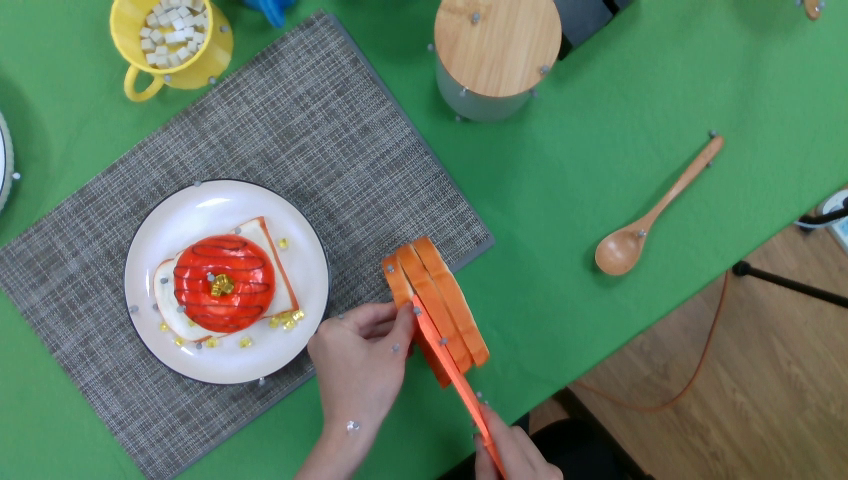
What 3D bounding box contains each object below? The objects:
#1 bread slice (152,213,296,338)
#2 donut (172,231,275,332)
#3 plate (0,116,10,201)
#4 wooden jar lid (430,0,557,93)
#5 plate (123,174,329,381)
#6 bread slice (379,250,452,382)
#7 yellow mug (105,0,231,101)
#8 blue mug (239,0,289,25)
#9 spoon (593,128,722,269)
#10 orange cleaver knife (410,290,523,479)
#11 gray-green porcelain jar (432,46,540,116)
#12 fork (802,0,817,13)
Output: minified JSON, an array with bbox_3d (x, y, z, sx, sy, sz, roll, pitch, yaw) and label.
[{"bbox_3d":[-0.211,0.044,0.628,0.131,0.019,0.105,-24,90,-3],"label":"bread slice"},{"bbox_3d":[-0.196,0.040,0.597,0.099,0.048,0.099,0,92,-4],"label":"donut"},{"bbox_3d":[-0.526,-0.085,0.624,0.208,0.039,0.207,0,91,0],"label":"plate"},{"bbox_3d":[0.059,-0.179,0.517,0.108,0.020,0.108,0,92,-3],"label":"wooden jar lid"},{"bbox_3d":[-0.199,0.038,0.624,0.209,0.038,0.209,0,91,0],"label":"plate"},{"bbox_3d":[-0.006,0.072,0.599,0.018,0.107,0.134,-28,85,-2],"label":"bread slice"},{"bbox_3d":[-0.262,-0.197,0.608,0.100,0.064,0.131,32,92,0],"label":"yellow mug"},{"bbox_3d":[-0.164,-0.268,0.588,0.082,0.106,0.116,-16,91,0],"label":"blue mug"},{"bbox_3d":[0.249,-0.045,0.635,0.041,0.022,0.193,42,91,17],"label":"spoon"},{"bbox_3d":[0.041,0.140,0.543,0.012,0.077,0.212,-29,100,2],"label":"orange cleaver knife"},{"bbox_3d":[0.060,-0.179,0.580,0.106,0.126,0.106,0,91,0],"label":"gray-green porcelain jar"},{"bbox_3d":[0.346,-0.267,0.567,0.028,0.019,0.206,25,47,-7],"label":"fork"}]
